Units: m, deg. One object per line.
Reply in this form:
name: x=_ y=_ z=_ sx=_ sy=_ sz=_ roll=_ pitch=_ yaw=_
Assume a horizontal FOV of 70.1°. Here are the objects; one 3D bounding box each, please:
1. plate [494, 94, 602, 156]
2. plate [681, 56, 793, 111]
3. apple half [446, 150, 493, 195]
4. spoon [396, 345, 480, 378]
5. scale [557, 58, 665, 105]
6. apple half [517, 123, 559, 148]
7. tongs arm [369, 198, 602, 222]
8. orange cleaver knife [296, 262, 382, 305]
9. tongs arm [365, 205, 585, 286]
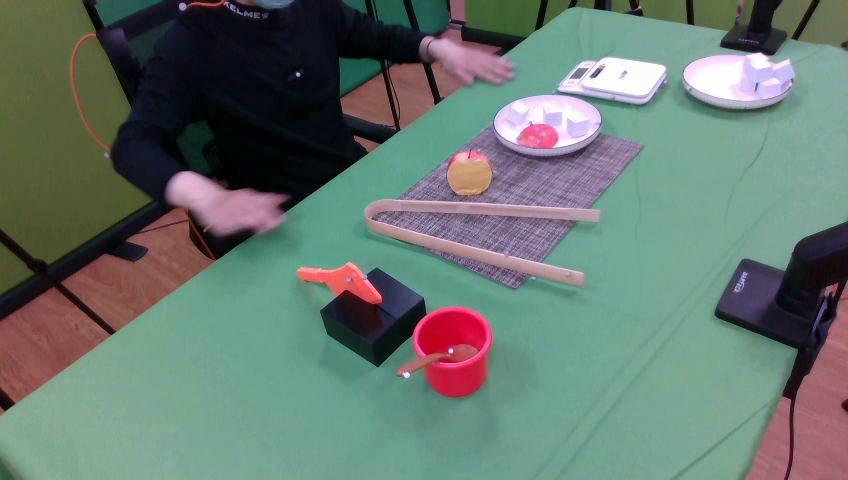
plate: x=0.240 y=-0.221 z=1.181 sx=0.209 sy=0.038 sz=0.208 roll=-4 pitch=41 yaw=4
plate: x=0.636 y=-0.317 z=1.239 sx=0.207 sy=0.039 sz=0.206 roll=-4 pitch=40 yaw=4
apple half: x=0.080 y=-0.124 z=1.065 sx=0.081 sy=0.075 sz=0.053 roll=-7 pitch=37 yaw=7
spoon: x=0.017 y=0.142 z=0.715 sx=0.041 sy=0.021 sz=0.195 roll=22 pitch=5 yaw=27
scale: x=0.407 y=-0.348 z=1.314 sx=0.199 sy=0.032 sz=0.149 roll=19 pitch=47 yaw=28
apple half: x=0.221 y=-0.208 z=1.161 sx=0.081 sy=0.033 sz=0.081 roll=-6 pitch=43 yaw=6
tongs arm: x=0.097 y=-0.048 z=1.008 sx=0.386 sy=0.028 sz=0.028 roll=3 pitch=46 yaw=13
orange cleaver knife: x=-0.127 y=0.064 z=0.875 sx=0.012 sy=0.077 sz=0.210 roll=-43 pitch=22 yaw=-28
tongs arm: x=0.066 y=0.004 z=0.950 sx=0.382 sy=0.026 sz=0.051 roll=13 pitch=45 yaw=23
